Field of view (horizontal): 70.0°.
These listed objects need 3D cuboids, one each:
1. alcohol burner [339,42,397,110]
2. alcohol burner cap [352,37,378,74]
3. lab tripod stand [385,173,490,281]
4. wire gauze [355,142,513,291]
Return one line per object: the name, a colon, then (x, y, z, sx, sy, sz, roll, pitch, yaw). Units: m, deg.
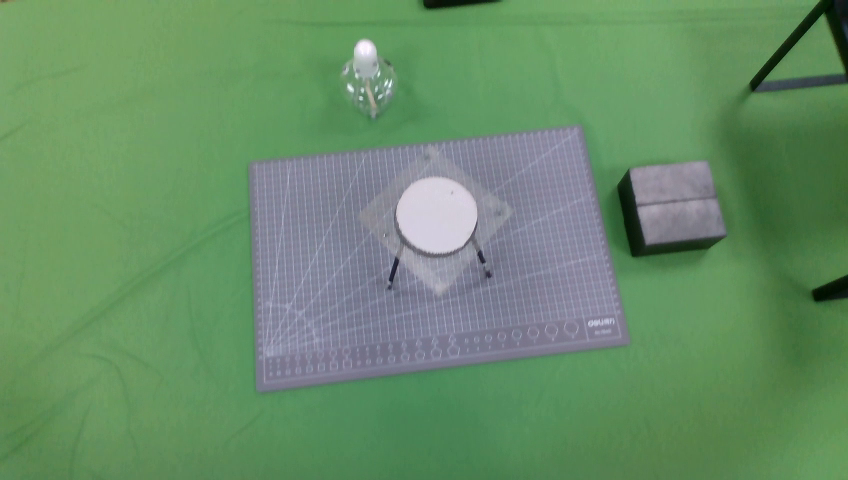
alcohol burner: (-0.073, -0.221, 0.784, 0.078, 0.119, 0.077, 1, 72, -2)
alcohol burner cap: (-0.073, -0.231, 0.750, 0.034, 0.048, 0.033, 1, 77, -4)
lab tripod stand: (0.015, -0.010, 0.704, 0.148, 0.132, 0.147, 1, 71, -2)
wire gauze: (0.011, -0.030, 0.640, 0.124, 0.011, 0.121, 42, 76, 11)
